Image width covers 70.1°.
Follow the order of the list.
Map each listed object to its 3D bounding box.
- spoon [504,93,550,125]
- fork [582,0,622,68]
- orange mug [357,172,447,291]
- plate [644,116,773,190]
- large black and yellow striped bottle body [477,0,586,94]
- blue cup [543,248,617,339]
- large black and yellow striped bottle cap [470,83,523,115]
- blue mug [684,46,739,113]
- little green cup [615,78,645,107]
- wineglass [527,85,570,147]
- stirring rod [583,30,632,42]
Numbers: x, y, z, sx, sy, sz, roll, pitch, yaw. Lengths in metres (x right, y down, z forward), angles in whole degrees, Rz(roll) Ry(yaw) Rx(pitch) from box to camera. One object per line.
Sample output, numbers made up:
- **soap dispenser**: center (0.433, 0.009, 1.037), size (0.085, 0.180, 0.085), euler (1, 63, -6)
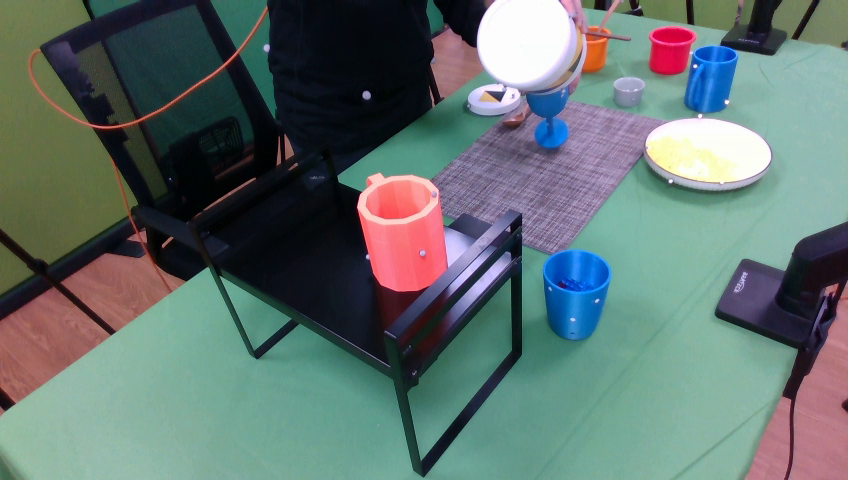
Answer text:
- **spoon**: center (0.227, -0.285, 1.269), size (0.041, 0.022, 0.194), euler (2, 36, 45)
- **fork**: center (0.409, -0.484, 1.381), size (0.028, 0.019, 0.207), euler (37, 101, 45)
- **orange mug**: center (-0.030, -0.018, 0.669), size (0.084, 0.101, 0.125), euler (-23, 47, -16)
- **plate**: center (0.495, -0.149, 1.063), size (0.209, 0.038, 0.208), euler (-5, 40, 4)
- **large black and yellow striped bottle body**: center (0.168, -0.287, 0.901), size (0.130, 0.131, 0.185), euler (12, 14, 22)
- **blue cup**: center (0.199, 0.076, 0.797), size (0.092, 0.100, 0.092), euler (-4, 39, 4)
- **large black and yellow striped bottle cap**: center (0.157, -0.307, 1.316), size (0.115, 0.019, 0.114), euler (-7, 39, 6)
- **blue mug**: center (0.556, -0.310, 1.190), size (0.117, 0.106, 0.081), euler (-32, 46, -25)
- **little green cup**: center (0.426, -0.306, 1.257), size (0.061, 0.039, 0.061), euler (-4, 40, 4)
- **wineglass**: center (0.223, -0.236, 1.073), size (0.073, 0.173, 0.073), euler (-5, 68, 13)
- **stirring rod**: center (0.381, -0.463, 1.356), size (0.175, 0.006, 0.014), euler (22, 47, 30)
